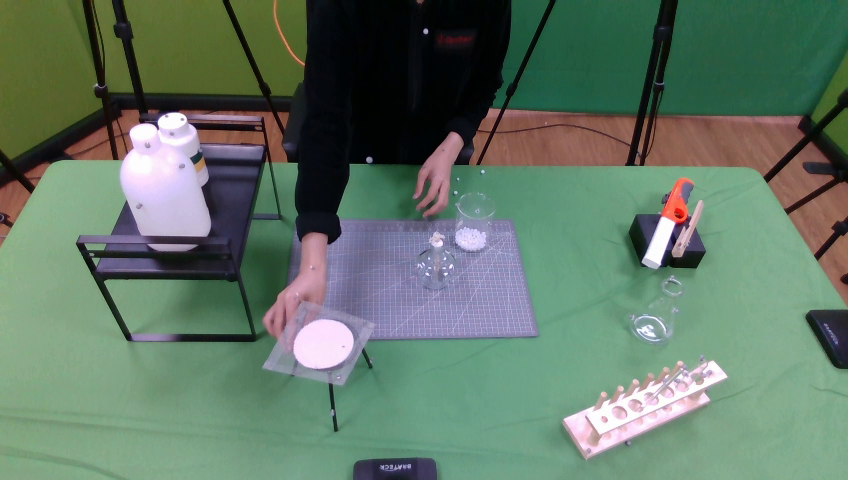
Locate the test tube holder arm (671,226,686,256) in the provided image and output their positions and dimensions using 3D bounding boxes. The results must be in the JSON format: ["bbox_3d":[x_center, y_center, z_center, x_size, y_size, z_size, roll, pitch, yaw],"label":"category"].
[{"bbox_3d":[0.494,0.001,1.167,0.010,0.015,0.087,1,36,42],"label":"test tube holder arm"}]

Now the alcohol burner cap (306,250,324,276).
[{"bbox_3d":[-0.204,0.040,1.125,0.034,0.048,0.033,2,45,-2],"label":"alcohol burner cap"}]

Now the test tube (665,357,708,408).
[{"bbox_3d":[0.387,0.216,0.905,0.017,0.151,0.017,1,52,-1],"label":"test tube"}]

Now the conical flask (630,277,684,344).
[{"bbox_3d":[0.408,0.117,1.045,0.075,0.122,0.075,2,46,-2],"label":"conical flask"}]

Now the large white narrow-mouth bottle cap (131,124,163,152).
[{"bbox_3d":[-0.371,-0.137,0.813,0.038,0.024,0.037,3,46,-3],"label":"large white narrow-mouth bottle cap"}]

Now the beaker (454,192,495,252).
[{"bbox_3d":[0.097,-0.034,1.180,0.074,0.101,0.084,23,49,17],"label":"beaker"}]

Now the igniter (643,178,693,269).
[{"bbox_3d":[0.488,-0.042,1.205,0.057,0.025,0.276,30,51,11],"label":"igniter"}]

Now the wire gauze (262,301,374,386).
[{"bbox_3d":[-0.150,0.148,0.873,0.121,0.011,0.124,14,46,12],"label":"wire gauze"}]

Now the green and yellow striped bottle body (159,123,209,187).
[{"bbox_3d":[-0.395,-0.145,0.989,0.063,0.120,0.063,2,46,-2],"label":"green and yellow striped bottle body"}]

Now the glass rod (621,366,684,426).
[{"bbox_3d":[0.322,0.227,0.866,0.008,0.200,0.008,6,51,-7],"label":"glass rod"}]

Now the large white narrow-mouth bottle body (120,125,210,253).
[{"bbox_3d":[-0.378,-0.078,0.875,0.102,0.195,0.101,3,46,-3],"label":"large white narrow-mouth bottle body"}]

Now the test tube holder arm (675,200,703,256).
[{"bbox_3d":[0.523,-0.025,1.190,0.013,0.015,0.178,0,36,42],"label":"test tube holder arm"}]

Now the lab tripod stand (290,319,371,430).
[{"bbox_3d":[-0.146,0.194,0.923,0.148,0.132,0.147,1,47,-1],"label":"lab tripod stand"}]

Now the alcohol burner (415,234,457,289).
[{"bbox_3d":[0.022,0.033,1.099,0.078,0.120,0.077,1,47,-1],"label":"alcohol burner"}]

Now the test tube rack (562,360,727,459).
[{"bbox_3d":[0.341,0.247,0.940,0.243,0.085,0.066,-16,49,-19],"label":"test tube rack"}]

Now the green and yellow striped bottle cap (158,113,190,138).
[{"bbox_3d":[-0.393,-0.180,0.951,0.045,0.020,0.045,2,44,-2],"label":"green and yellow striped bottle cap"}]
